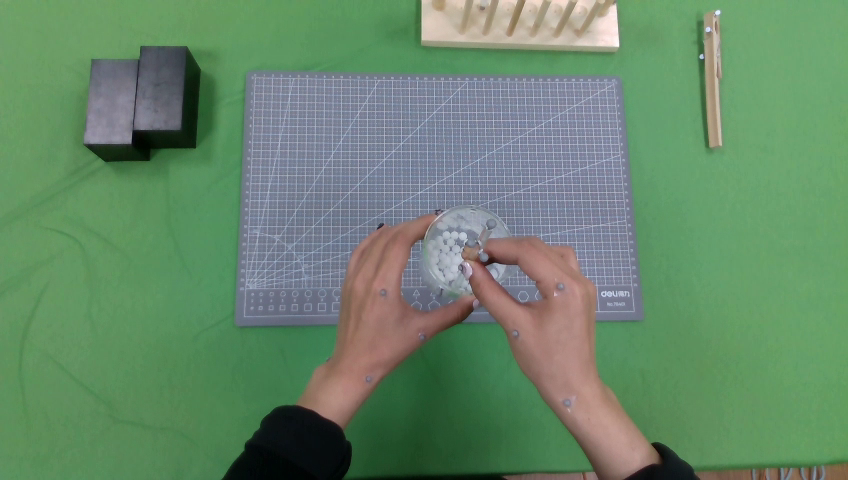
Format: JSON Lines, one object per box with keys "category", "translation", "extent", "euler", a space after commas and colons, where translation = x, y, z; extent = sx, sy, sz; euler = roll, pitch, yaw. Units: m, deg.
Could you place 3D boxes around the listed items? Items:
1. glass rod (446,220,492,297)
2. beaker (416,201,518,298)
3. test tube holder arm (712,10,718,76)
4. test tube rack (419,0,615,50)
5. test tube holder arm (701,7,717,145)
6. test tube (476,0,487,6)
{"category": "glass rod", "translation": [0.031, 0.020, 0.470], "extent": [0.008, 0.200, 0.008], "euler": [2, 72, -4]}
{"category": "beaker", "translation": [0.033, 0.014, 0.532], "extent": [0.084, 0.100, 0.074], "euler": [17, 80, -2]}
{"category": "test tube holder arm", "translation": [0.358, -0.245, 0.756], "extent": [0.010, 0.015, 0.087], "euler": [13, 75, -30]}
{"category": "test tube rack", "translation": [0.117, -0.280, 0.714], "extent": [0.242, 0.085, 0.066], "euler": [1, 77, -4]}
{"category": "test tube holder arm", "translation": [0.350, -0.202, 0.743], "extent": [0.013, 0.015, 0.177], "euler": [13, 75, -31]}
{"category": "test tube", "translation": [0.081, -0.308, 0.667], "extent": [0.017, 0.150, 0.017], "euler": [3, 75, -10]}
